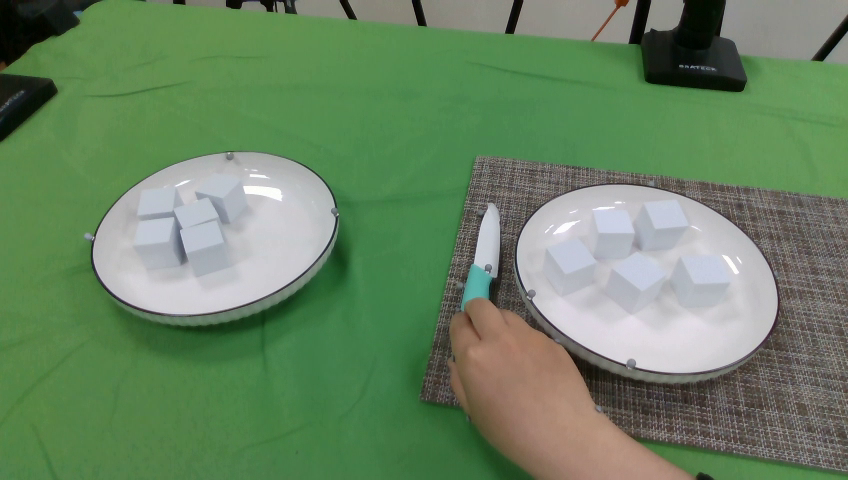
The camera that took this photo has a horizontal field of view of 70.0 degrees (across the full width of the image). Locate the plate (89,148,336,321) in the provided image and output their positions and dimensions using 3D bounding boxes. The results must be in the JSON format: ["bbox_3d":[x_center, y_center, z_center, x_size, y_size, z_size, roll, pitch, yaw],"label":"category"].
[{"bbox_3d":[-0.182,-0.006,0.543,0.209,0.038,0.207,1,45,0],"label":"plate"}]

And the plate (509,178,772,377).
[{"bbox_3d":[0.173,0.028,0.507,0.208,0.039,0.205,0,46,0],"label":"plate"}]

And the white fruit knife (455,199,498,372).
[{"bbox_3d":[0.048,0.027,0.519,0.027,0.016,0.205,14,41,0],"label":"white fruit knife"}]
